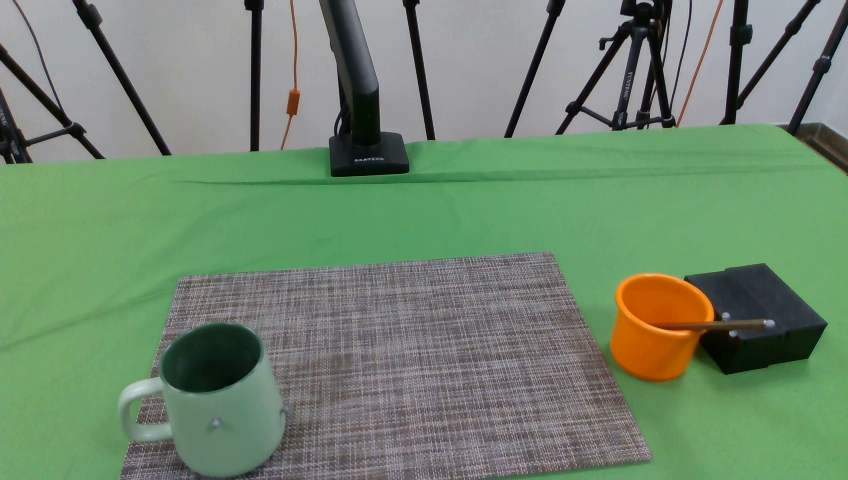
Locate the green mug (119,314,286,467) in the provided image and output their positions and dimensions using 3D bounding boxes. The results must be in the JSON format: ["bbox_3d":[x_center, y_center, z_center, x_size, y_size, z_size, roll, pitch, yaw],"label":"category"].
[{"bbox_3d":[-0.182,0.129,0.500,0.125,0.106,0.091,-11,39,-15],"label":"green mug"}]

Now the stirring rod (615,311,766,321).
[{"bbox_3d":[0.241,0.072,0.569,0.014,0.006,0.176,-14,-2,-23],"label":"stirring rod"}]
